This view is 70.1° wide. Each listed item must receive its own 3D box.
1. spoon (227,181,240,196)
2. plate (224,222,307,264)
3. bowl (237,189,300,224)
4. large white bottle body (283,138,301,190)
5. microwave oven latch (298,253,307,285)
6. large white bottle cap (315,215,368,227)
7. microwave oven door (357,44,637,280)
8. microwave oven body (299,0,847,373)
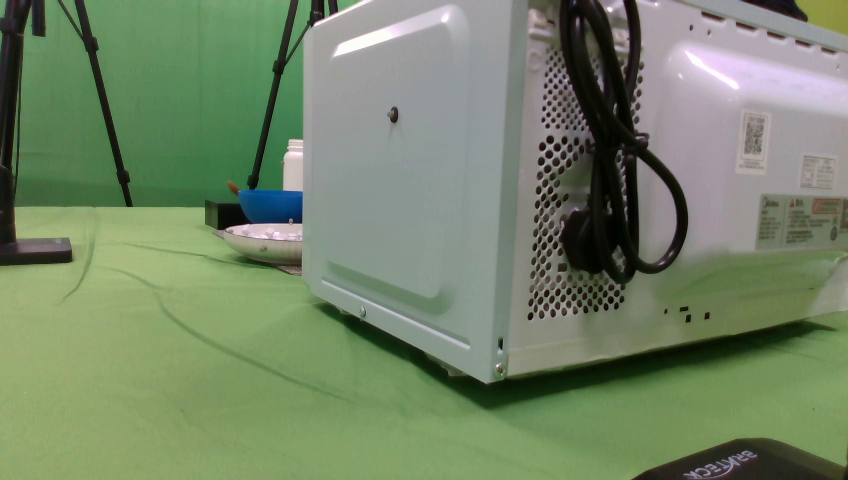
[{"bbox_3d":[-0.315,-0.074,1.235,0.195,0.021,0.041,24,-10,-37],"label":"spoon"},{"bbox_3d":[-0.172,0.004,0.849,0.209,0.038,0.209,2,7,0],"label":"plate"},{"bbox_3d":[-0.247,-0.046,1.054,0.151,0.077,0.151,3,8,0],"label":"bowl"},{"bbox_3d":[-0.265,-0.143,1.423,0.131,0.184,0.130,2,7,0],"label":"large white bottle body"},{"bbox_3d":[-0.081,0.027,0.582,0.079,0.029,0.030,-1,7,-32],"label":"microwave oven latch"},{"bbox_3d":[-0.177,-0.041,1.309,0.115,0.018,0.115,2,6,0],"label":"large white bottle cap"},{"bbox_3d":[0.100,-0.082,0.704,0.358,0.243,0.039,-1,8,-26],"label":"microwave oven door"},{"bbox_3d":[0.151,-0.055,0.542,0.444,0.260,0.324,-2,7,-33],"label":"microwave oven body"}]
